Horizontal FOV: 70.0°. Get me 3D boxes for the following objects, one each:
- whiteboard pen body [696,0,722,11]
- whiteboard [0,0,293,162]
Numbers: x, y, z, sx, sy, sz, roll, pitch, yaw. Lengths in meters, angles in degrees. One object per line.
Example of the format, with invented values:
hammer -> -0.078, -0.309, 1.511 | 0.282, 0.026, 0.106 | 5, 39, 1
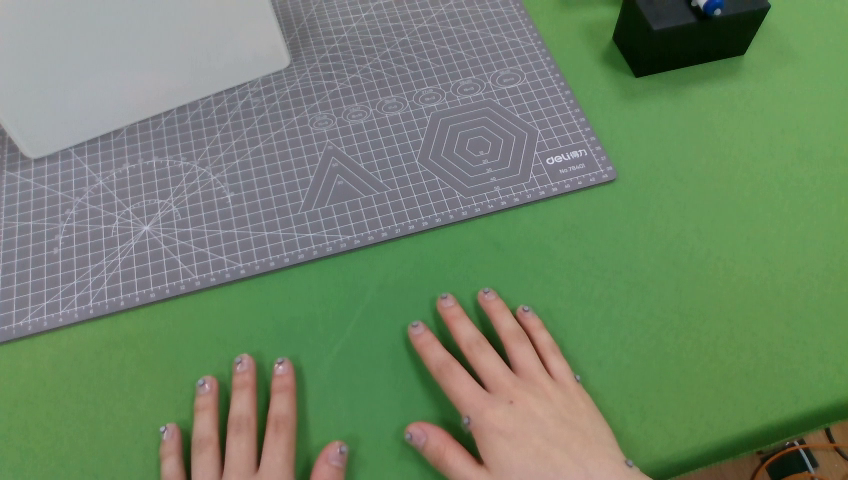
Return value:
whiteboard pen body -> 0.203, -0.236, 0.489 | 0.017, 0.017, 0.139 | -13, 63, -6
whiteboard -> -0.257, -0.252, 0.427 | 0.217, 0.308, 0.142 | -24, 44, -11
